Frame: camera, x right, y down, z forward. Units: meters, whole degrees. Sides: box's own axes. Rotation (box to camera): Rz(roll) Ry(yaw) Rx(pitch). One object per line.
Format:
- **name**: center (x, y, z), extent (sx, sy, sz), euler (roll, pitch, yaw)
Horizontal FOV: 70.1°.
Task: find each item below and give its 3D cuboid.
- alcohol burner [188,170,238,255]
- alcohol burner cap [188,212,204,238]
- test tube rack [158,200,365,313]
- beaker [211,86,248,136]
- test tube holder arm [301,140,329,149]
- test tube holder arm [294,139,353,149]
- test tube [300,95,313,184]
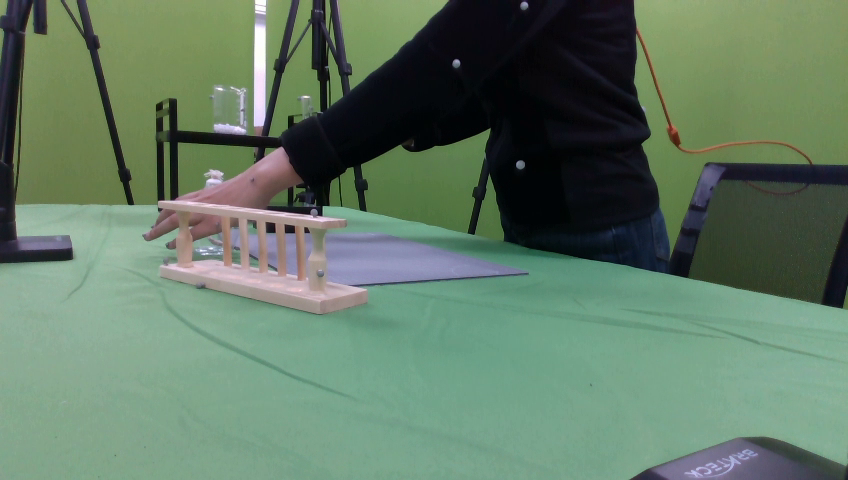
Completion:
- **alcohol burner**: center (-0.299, -0.039, 0.852), extent (0.078, 0.119, 0.078), euler (3, 5, 0)
- **alcohol burner cap**: center (-0.390, -0.029, 1.025), extent (0.034, 0.048, 0.034), euler (2, 9, 0)
- **test tube rack**: center (-0.174, 0.009, 0.624), extent (0.241, 0.085, 0.067), euler (7, 9, 34)
- **beaker**: center (-0.414, -0.274, 1.297), extent (0.074, 0.100, 0.083), euler (-5, 11, -44)
- **test tube holder arm**: center (-0.189, -0.167, 1.057), extent (0.010, 0.015, 0.088), euler (9, 14, 15)
- **test tube holder arm**: center (-0.179, -0.176, 1.100), extent (0.013, 0.015, 0.179), euler (11, 14, 21)
- **test tube**: center (-0.201, -0.171, 1.035), extent (0.017, 0.150, 0.017), euler (1, 15, 0)
